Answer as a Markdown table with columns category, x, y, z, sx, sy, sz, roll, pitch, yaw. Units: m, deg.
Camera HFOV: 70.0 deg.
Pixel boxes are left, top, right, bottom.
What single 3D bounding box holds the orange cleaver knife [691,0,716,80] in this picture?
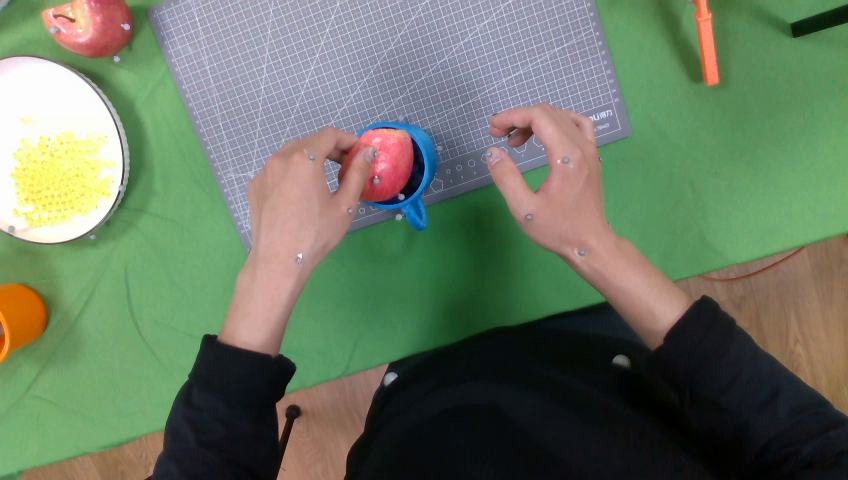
| category | x | y | z | sx | sy | sz | roll | pitch | yaw |
| --- | --- | --- | --- | --- | --- | --- | --- | --- | --- |
| orange cleaver knife | 0.252 | -0.255 | 0.570 | 0.012 | 0.076 | 0.213 | -15 | 127 | 17 |

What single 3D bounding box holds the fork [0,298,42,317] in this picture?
| category | x | y | z | sx | sy | sz | roll | pitch | yaw |
| --- | --- | --- | --- | --- | --- | --- | --- | --- | --- |
| fork | -0.551 | 0.095 | 0.680 | 0.208 | 0.018 | 0.028 | -11 | 104 | -37 |

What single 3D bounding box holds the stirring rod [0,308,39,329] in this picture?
| category | x | y | z | sx | sy | sz | roll | pitch | yaw |
| --- | --- | --- | --- | --- | --- | --- | --- | --- | --- |
| stirring rod | -0.537 | 0.110 | 0.685 | 0.176 | 0.006 | 0.014 | -18 | 91 | -33 |

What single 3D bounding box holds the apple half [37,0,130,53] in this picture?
| category | x | y | z | sx | sy | sz | roll | pitch | yaw |
| --- | --- | --- | --- | --- | --- | --- | --- | --- | --- |
| apple half | -0.347 | -0.223 | 0.632 | 0.081 | 0.074 | 0.053 | -15 | 104 | 4 |

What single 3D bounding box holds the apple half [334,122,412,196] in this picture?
| category | x | y | z | sx | sy | sz | roll | pitch | yaw |
| --- | --- | --- | --- | --- | --- | --- | --- | --- | --- |
| apple half | -0.039 | -0.069 | 0.553 | 0.081 | 0.082 | 0.032 | -45 | 54 | 12 |

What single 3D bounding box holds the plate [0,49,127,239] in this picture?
| category | x | y | z | sx | sy | sz | roll | pitch | yaw |
| --- | --- | --- | --- | --- | --- | --- | --- | --- | --- |
| plate | -0.431 | -0.106 | 0.682 | 0.209 | 0.038 | 0.210 | 1 | 103 | 5 |

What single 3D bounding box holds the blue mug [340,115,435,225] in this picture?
| category | x | y | z | sx | sy | sz | roll | pitch | yaw |
| --- | --- | --- | --- | --- | --- | --- | --- | --- | --- |
| blue mug | -0.027 | -0.070 | 0.620 | 0.082 | 0.105 | 0.117 | -22 | 100 | 9 |
